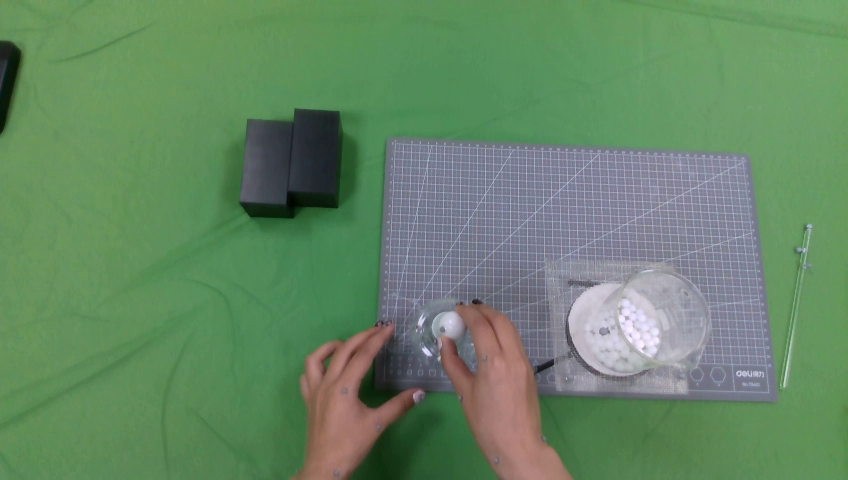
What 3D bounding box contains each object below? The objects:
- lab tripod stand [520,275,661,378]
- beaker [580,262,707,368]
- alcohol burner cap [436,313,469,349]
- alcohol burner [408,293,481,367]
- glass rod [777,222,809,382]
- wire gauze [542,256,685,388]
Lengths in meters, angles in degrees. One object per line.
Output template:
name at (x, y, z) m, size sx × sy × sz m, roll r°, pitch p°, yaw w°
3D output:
lab tripod stand at (0.170, 0.094, 0.618) m, size 0.148 × 0.132 × 0.147 m, roll 0°, pitch 74°, yaw -1°
beaker at (0.178, 0.070, 0.506) m, size 0.074 × 0.101 × 0.083 m, roll -29°, pitch 77°, yaw -11°
alcohol burner cap at (0.028, 0.086, 0.583) m, size 0.034 × 0.048 × 0.033 m, roll 0°, pitch 74°, yaw 1°
alcohol burner at (0.023, 0.089, 0.621) m, size 0.078 × 0.119 × 0.077 m, roll 1°, pitch 72°, yaw -3°
glass rod at (0.432, 0.069, 0.708) m, size 0.008 × 0.008 × 0.199 m, roll 19°, pitch 75°, yaw 2°
wire gauze at (0.173, 0.073, 0.555) m, size 0.125 × 0.011 × 0.120 m, roll 1°, pitch 73°, yaw -1°
